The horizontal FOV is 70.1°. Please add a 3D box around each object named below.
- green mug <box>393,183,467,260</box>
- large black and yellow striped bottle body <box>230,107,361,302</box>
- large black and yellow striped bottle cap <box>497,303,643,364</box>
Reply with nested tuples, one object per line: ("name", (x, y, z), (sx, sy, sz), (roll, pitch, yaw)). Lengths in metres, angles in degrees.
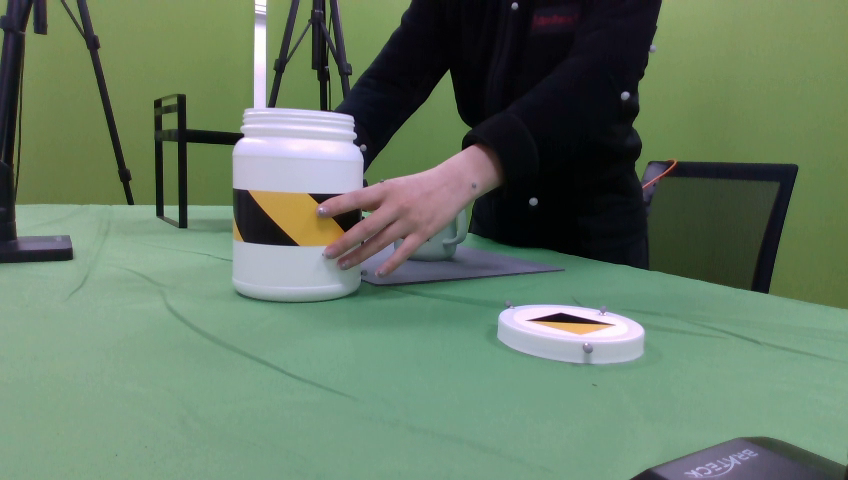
("green mug", (0.014, -0.026, 0.858), (0.093, 0.105, 0.124), (-4, 10, -42))
("large black and yellow striped bottle body", (-0.130, -0.039, 0.621), (0.131, 0.184, 0.130), (2, 8, 0))
("large black and yellow striped bottle cap", (0.116, 0.072, 0.486), (0.115, 0.019, 0.115), (2, 8, 0))
